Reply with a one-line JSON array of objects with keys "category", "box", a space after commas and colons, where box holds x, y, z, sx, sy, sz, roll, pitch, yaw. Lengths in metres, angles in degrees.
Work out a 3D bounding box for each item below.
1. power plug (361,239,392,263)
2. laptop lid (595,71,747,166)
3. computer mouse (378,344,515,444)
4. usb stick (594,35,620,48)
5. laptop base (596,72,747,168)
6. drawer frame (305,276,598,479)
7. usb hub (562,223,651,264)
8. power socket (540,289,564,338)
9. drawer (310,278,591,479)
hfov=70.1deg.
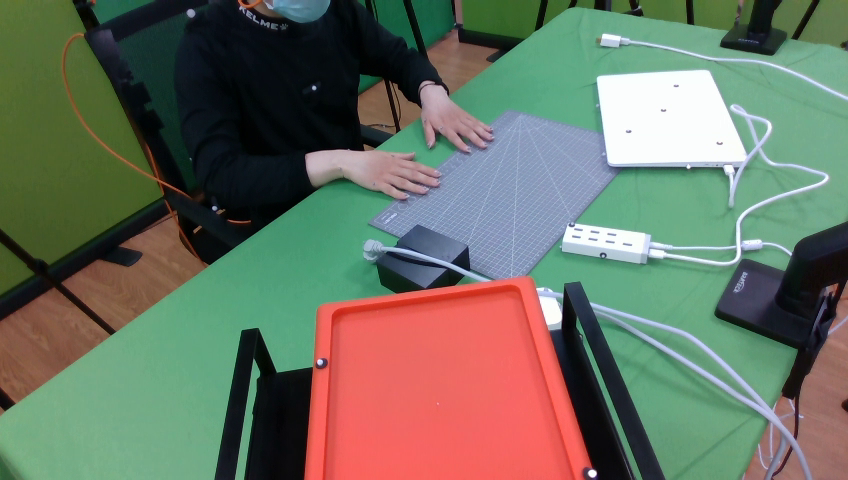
[{"category": "power plug", "box": [-0.070, 0.024, 0.930, 0.072, 0.053, 0.035, 32, 82, 42]}, {"category": "laptop lid", "box": [0.465, -0.248, 1.181, 0.241, 0.013, 0.355, 1, 41, 12]}, {"category": "computer mouse", "box": [0.018, 0.126, 0.520, 0.116, 0.041, 0.063, 13, 47, 29]}, {"category": "usb stick", "box": [0.443, -0.482, 1.466, 0.059, 0.021, 0.027, 10, 42, 9]}, {"category": "laptop base", "box": [0.469, -0.238, 1.189, 0.235, 0.023, 0.353, -1, 40, 11]}, {"category": "drawer frame", "box": [0.014, 0.137, 0.486, 0.202, 0.083, 0.212, -8, 41, -1]}, {"category": "usb hub", "box": [0.279, 0.004, 0.926, 0.124, 0.025, 0.049, 10, 43, 19]}, {"category": "power socket", "box": [0.080, 0.112, 0.822, 0.227, 0.033, 0.072, -7, 41, -1]}, {"category": "drawer", "box": [0.013, 0.137, 0.489, 0.195, 0.073, 0.210, -7, 41, 0]}]
